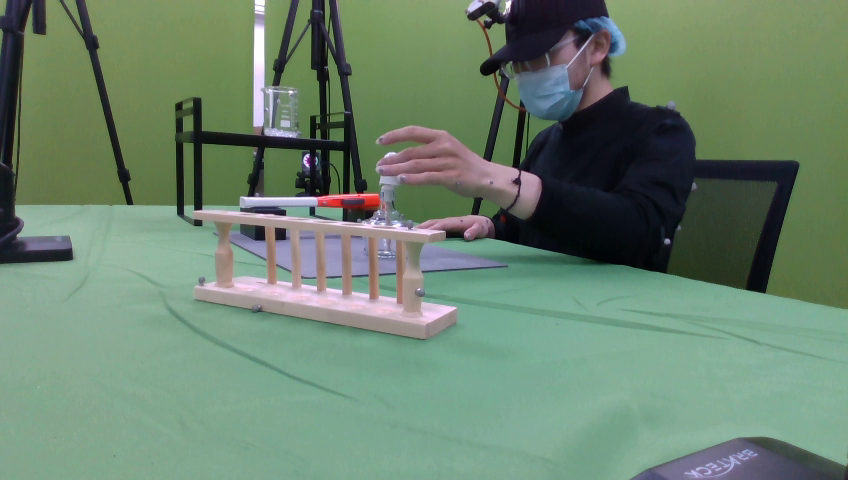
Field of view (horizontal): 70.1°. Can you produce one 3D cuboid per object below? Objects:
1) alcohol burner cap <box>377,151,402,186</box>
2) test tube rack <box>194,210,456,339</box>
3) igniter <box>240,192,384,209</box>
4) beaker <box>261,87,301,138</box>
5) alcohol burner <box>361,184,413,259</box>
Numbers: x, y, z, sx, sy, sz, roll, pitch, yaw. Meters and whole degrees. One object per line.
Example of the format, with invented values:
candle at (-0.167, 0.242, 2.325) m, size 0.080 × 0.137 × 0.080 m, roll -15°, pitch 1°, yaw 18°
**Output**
alcohol burner cap at (-0.047, -0.101, 0.851) m, size 0.034 × 0.048 × 0.034 m, roll 8°, pitch 7°, yaw -1°
test tube rack at (-0.093, 0.023, 0.545) m, size 0.241 × 0.085 × 0.067 m, roll 6°, pitch 8°, yaw 25°
igniter at (-0.188, -0.070, 1.078) m, size 0.278 × 0.025 × 0.057 m, roll -5°, pitch 11°, yaw -35°
beaker at (-0.298, -0.263, 1.255) m, size 0.084 × 0.100 × 0.073 m, roll -5°, pitch 10°, yaw -40°
alcohol burner at (-0.054, -0.033, 0.870) m, size 0.078 × 0.119 × 0.078 m, roll 1°, pitch 9°, yaw 0°
